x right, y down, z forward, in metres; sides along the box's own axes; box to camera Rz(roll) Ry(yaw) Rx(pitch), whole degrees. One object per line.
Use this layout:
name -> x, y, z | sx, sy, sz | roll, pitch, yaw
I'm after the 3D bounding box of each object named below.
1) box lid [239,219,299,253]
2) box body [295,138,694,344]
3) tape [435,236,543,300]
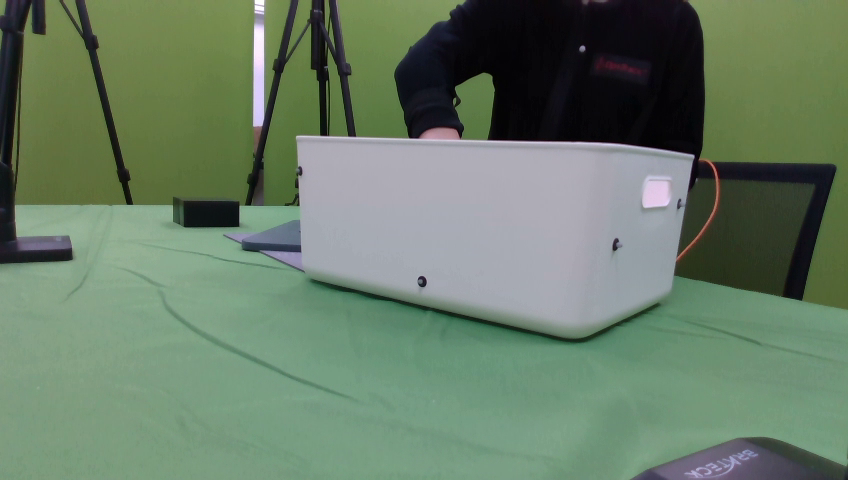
box lid -> -0.141, -0.007, 1.057 | 0.263, 0.015, 0.371 | 4, 7, 0
box body -> 0.065, -0.020, 0.653 | 0.362, 0.160, 0.255 | 9, 9, 36
tape -> 0.072, 0.029, 0.657 | 0.117, 0.052, 0.117 | 3, 8, 0
